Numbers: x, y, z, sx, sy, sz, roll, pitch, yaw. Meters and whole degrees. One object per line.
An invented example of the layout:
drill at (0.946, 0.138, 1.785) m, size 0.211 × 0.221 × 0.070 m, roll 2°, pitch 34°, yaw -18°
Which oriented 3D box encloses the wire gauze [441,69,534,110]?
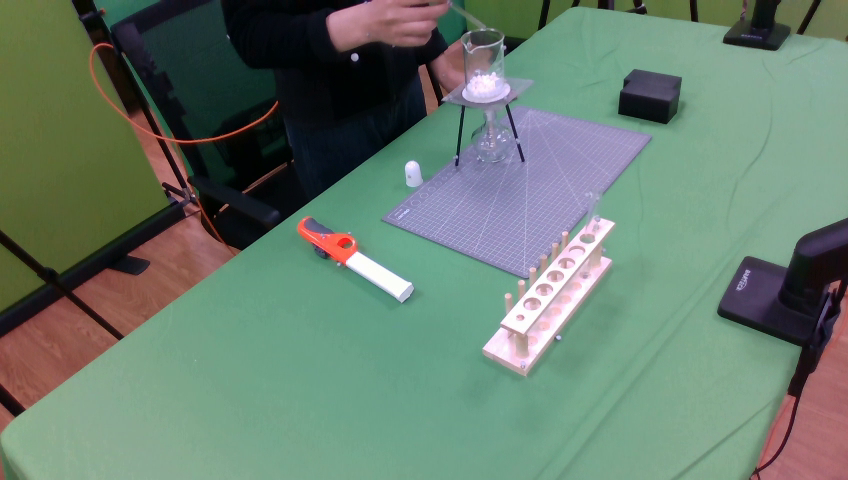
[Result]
wire gauze at (0.114, -0.268, 1.082) m, size 0.120 × 0.011 × 0.125 m, roll 22°, pitch 47°, yaw 29°

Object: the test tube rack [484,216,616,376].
test tube rack at (0.174, 0.064, 0.823) m, size 0.066 × 0.085 × 0.243 m, roll 23°, pitch 49°, yaw 32°

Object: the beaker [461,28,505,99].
beaker at (0.103, -0.304, 1.051) m, size 0.073 × 0.101 × 0.084 m, roll 19°, pitch 48°, yaw 29°

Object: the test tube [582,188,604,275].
test tube at (0.228, -0.007, 0.821) m, size 0.017 × 0.151 × 0.017 m, roll -3°, pitch 42°, yaw 3°

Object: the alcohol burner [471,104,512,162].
alcohol burner at (0.125, -0.207, 1.126) m, size 0.078 × 0.119 × 0.077 m, roll -5°, pitch 43°, yaw 5°

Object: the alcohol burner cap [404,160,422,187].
alcohol burner cap at (-0.022, -0.125, 1.118) m, size 0.034 × 0.048 × 0.033 m, roll -4°, pitch 41°, yaw 4°

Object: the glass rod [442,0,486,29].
glass rod at (0.041, -0.348, 0.893) m, size 0.008 × 0.008 × 0.201 m, roll 25°, pitch 11°, yaw 34°

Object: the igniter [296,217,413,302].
igniter at (-0.121, 0.025, 0.970) m, size 0.274 × 0.025 × 0.057 m, roll 29°, pitch 63°, yaw 37°

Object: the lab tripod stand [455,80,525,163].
lab tripod stand at (0.120, -0.219, 1.126) m, size 0.148 × 0.132 × 0.147 m, roll -4°, pitch 40°, yaw 4°
